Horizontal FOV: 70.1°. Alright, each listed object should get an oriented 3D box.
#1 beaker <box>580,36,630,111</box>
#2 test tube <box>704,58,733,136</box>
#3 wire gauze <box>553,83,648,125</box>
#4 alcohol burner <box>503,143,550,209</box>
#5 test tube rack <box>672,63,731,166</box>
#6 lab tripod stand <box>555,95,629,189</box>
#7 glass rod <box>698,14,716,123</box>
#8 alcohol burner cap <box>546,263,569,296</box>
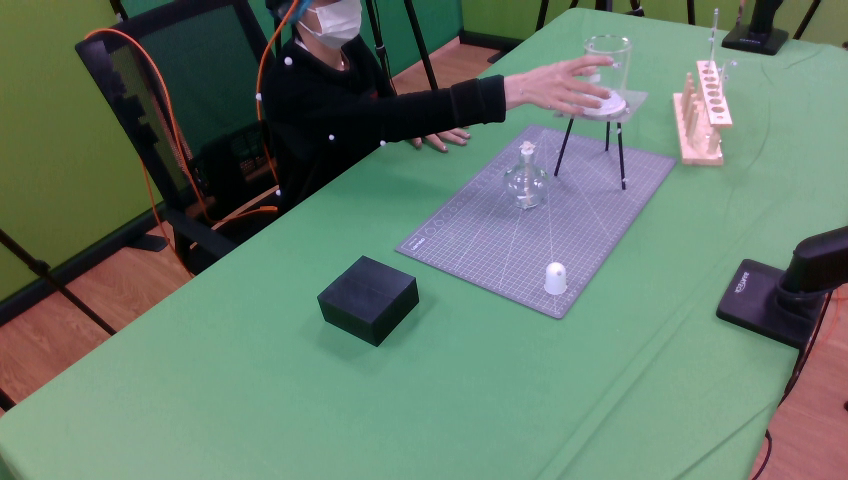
[{"bbox_3d":[0.292,-0.268,0.975,0.084,0.100,0.073,-20,40,-17],"label":"beaker"},{"bbox_3d":[0.517,-0.247,1.062,0.017,0.151,0.017,-3,43,4],"label":"test tube"},{"bbox_3d":[0.293,-0.225,1.003,0.120,0.011,0.125,17,44,27],"label":"wire gauze"},{"bbox_3d":[0.171,-0.111,1.007,0.078,0.119,0.077,-3,41,3],"label":"alcohol burner"},{"bbox_3d":[0.513,-0.240,1.132,0.066,0.085,0.242,4,41,14],"label":"test tube rack"},{"bbox_3d":[0.300,-0.174,1.045,0.148,0.132,0.147,-5,38,5],"label":"lab tripod stand"},{"bbox_3d":[0.532,-0.320,1.137,0.008,0.200,0.008,3,12,0],"label":"glass rod"},{"bbox_3d":[0.191,0.053,0.862,0.034,0.048,0.033,-5,40,4],"label":"alcohol burner cap"}]
